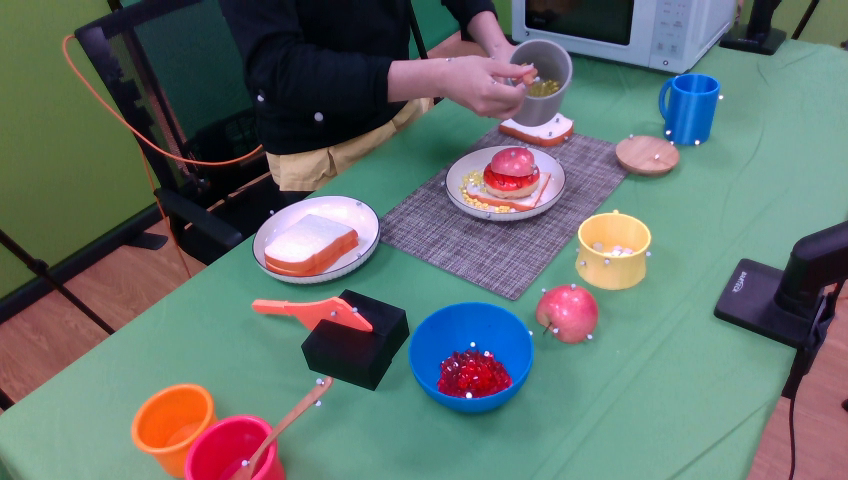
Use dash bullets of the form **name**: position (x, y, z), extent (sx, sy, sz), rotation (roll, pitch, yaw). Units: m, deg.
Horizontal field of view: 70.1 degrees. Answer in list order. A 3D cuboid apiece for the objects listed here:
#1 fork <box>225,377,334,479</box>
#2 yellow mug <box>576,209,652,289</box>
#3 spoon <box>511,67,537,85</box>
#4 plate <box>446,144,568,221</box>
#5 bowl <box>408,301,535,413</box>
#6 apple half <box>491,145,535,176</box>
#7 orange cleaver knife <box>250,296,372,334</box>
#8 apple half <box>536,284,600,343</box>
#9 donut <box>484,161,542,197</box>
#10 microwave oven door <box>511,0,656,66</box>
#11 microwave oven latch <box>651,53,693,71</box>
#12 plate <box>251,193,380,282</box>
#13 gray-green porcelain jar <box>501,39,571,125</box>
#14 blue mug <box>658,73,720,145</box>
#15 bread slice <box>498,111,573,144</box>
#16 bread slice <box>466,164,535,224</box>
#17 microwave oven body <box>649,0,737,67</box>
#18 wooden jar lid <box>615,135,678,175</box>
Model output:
- **fork**: position (-0.163, 0.216, 0.647), extent (0.207, 0.019, 0.028), rotation (-49, 42, 16)
- **yellow mug**: position (0.279, 0.004, 0.893), extent (0.099, 0.064, 0.130), rotation (5, 42, 14)
- **spoon**: position (0.148, -0.238, 0.877), extent (0.041, 0.022, 0.193), rotation (-14, 14, 11)
- **plate**: position (0.143, -0.097, 1.045), extent (0.207, 0.039, 0.206), rotation (-4, 40, 4)
- **bowl**: position (0.060, 0.156, 0.739), extent (0.151, 0.077, 0.150), rotation (-4, 40, 4)
- **apple half**: position (0.147, -0.138, 0.994), extent (0.081, 0.033, 0.081), rotation (1, 37, 0)
- **orange cleaver knife**: position (-0.159, 0.103, 0.828), extent (0.210, 0.078, 0.012), rotation (-4, 43, 39)
- **apple half**: position (0.196, 0.091, 0.815), extent (0.075, 0.053, 0.080), rotation (-22, 42, -20)
- **donut**: position (0.149, -0.110, 1.016), extent (0.099, 0.048, 0.098), rotation (-4, 40, 4)
- **microwave oven door**: position (0.350, -0.539, 1.349), extent (0.353, 0.245, 0.039), rotation (24, 50, 31)
- **microwave oven latch**: position (0.532, -0.386, 1.301), extent (0.078, 0.029, 0.030), rotation (27, 52, 34)
- **plate**: position (-0.174, -0.001, 0.984), extent (0.209, 0.038, 0.208), rotation (-4, 40, 4)
- **gray-green porcelain jar**: position (0.185, -0.260, 1.022), extent (0.106, 0.127, 0.105), rotation (0, 79, 3)
- **blue mug**: position (0.483, -0.250, 1.127), extent (0.082, 0.106, 0.115), rotation (-26, 44, -19)
- **bread slice**: position (0.231, -0.232, 1.205), extent (0.105, 0.019, 0.130), rotation (-36, 47, -29)
- **bread slice**: position (0.142, -0.084, 1.055), extent (0.134, 0.018, 0.107), rotation (18, 48, 9)
- **microwave oven body**: position (0.475, -0.602, 1.411), extent (0.438, 0.261, 0.327), rotation (23, 50, 32)
- **wooden jar lid**: position (0.398, -0.151, 1.086), extent (0.108, 0.021, 0.108), rotation (-1, 42, 2)
